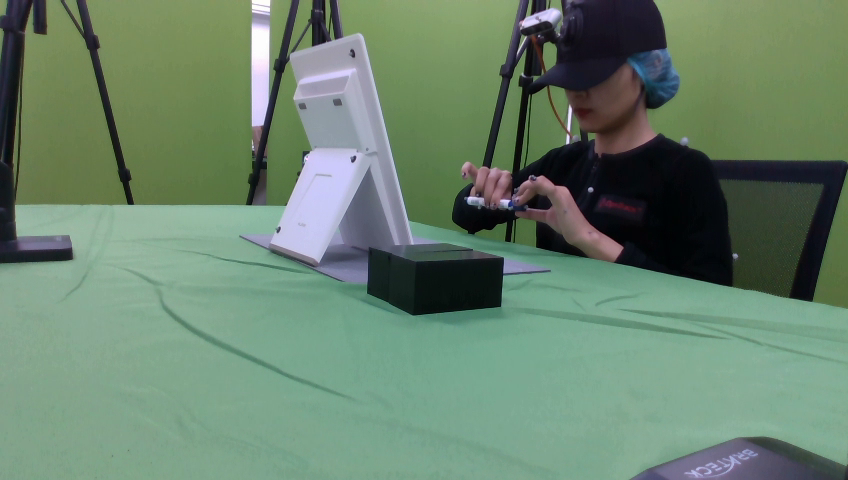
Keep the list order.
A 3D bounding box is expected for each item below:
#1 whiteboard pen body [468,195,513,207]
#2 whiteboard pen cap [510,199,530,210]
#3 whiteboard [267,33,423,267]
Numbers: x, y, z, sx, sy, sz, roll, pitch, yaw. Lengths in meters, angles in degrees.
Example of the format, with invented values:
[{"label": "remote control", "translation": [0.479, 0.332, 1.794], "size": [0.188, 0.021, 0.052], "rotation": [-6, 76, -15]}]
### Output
[{"label": "whiteboard pen body", "translation": [0.127, -0.069, 1.078], "size": [0.017, 0.017, 0.140], "rotation": [-3, 8, -37]}, {"label": "whiteboard pen cap", "translation": [0.163, -0.061, 1.032], "size": [0.018, 0.018, 0.033], "rotation": [-3, 10, -38]}, {"label": "whiteboard", "translation": [-0.153, -0.098, 0.819], "size": [0.144, 0.305, 0.216], "rotation": [-25, 21, -29]}]
